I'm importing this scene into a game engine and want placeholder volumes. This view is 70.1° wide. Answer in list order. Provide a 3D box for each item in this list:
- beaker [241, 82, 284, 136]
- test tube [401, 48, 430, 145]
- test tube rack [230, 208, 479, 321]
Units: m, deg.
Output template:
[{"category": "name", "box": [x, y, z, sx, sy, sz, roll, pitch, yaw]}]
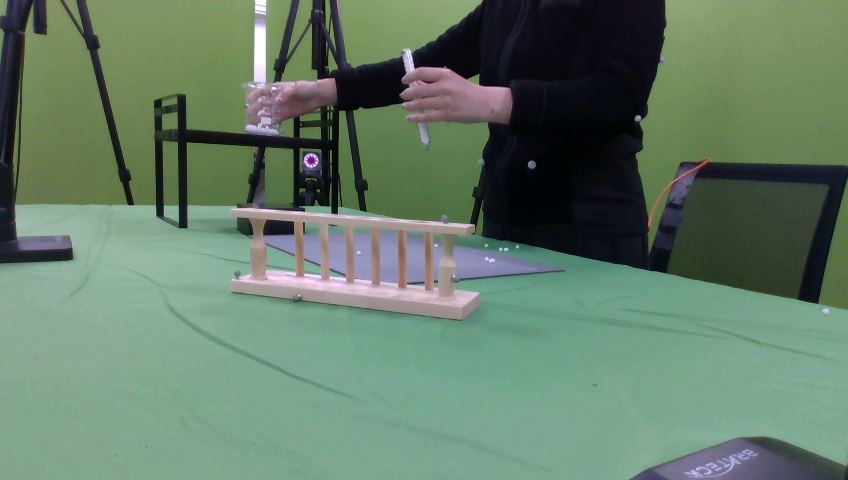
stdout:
[{"category": "beaker", "box": [-0.324, -0.260, 1.208, 0.084, 0.100, 0.073, -2, 8, -37]}, {"category": "test tube", "box": [-0.013, -0.221, 0.936, 0.017, 0.150, 0.017, -12, 3, 1]}, {"category": "test tube rack", "box": [-0.069, 0.017, 0.598, 0.242, 0.085, 0.067, 5, 8, 18]}]
